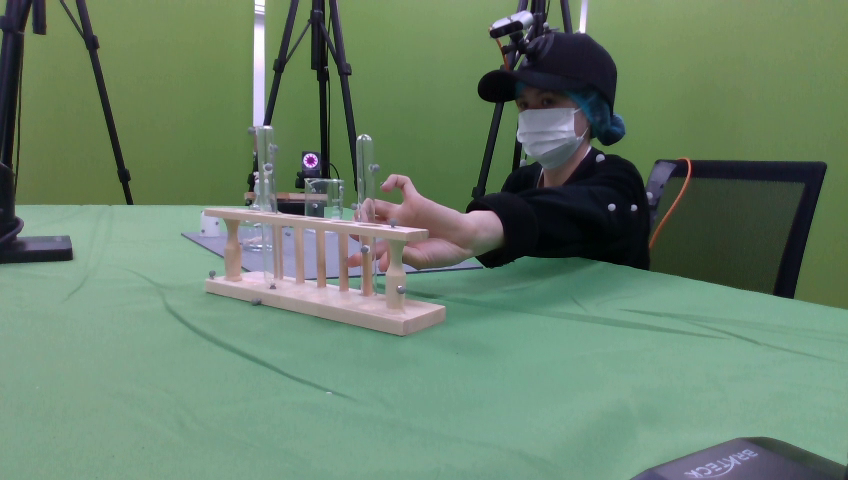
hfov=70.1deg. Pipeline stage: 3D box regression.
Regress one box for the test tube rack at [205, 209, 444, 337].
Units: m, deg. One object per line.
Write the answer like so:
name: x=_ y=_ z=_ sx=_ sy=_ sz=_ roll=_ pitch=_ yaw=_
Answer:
test tube rack: x=-0.100 y=0.021 z=0.565 sx=0.241 sy=0.085 sz=0.067 roll=7 pitch=8 yaw=32

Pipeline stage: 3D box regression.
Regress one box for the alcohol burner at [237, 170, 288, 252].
alcohol burner: x=-0.236 y=-0.042 z=0.882 sx=0.078 sy=0.119 sz=0.078 roll=2 pitch=9 yaw=0

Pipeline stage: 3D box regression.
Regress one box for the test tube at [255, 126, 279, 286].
test tube: x=-0.147 y=-0.031 z=0.566 sx=0.017 sy=0.150 sz=0.017 roll=-1 pitch=8 yaw=0

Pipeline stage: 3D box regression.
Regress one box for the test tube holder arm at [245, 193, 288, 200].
test tube holder arm: x=-0.317 y=-0.088 z=1.226 sx=0.088 sy=0.015 sz=0.010 roll=-2 pitch=0 yaw=-37

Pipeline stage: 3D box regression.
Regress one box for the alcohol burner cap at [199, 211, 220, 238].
alcohol burner cap: x=-0.356 y=-0.027 z=1.002 sx=0.034 sy=0.048 sz=0.034 roll=3 pitch=7 yaw=0

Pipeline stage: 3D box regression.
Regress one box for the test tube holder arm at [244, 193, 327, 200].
test tube holder arm: x=-0.284 y=-0.090 z=1.258 sx=0.179 sy=0.015 sz=0.013 roll=-2 pitch=0 yaw=-37

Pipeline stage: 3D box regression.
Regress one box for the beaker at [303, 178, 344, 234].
beaker: x=-0.189 y=-0.063 z=1.119 sx=0.073 sy=0.100 sz=0.084 roll=7 pitch=9 yaw=28

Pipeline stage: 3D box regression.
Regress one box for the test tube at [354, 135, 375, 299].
test tube: x=-0.054 y=-0.020 z=0.553 sx=0.017 sy=0.150 sz=0.017 roll=-1 pitch=8 yaw=0
